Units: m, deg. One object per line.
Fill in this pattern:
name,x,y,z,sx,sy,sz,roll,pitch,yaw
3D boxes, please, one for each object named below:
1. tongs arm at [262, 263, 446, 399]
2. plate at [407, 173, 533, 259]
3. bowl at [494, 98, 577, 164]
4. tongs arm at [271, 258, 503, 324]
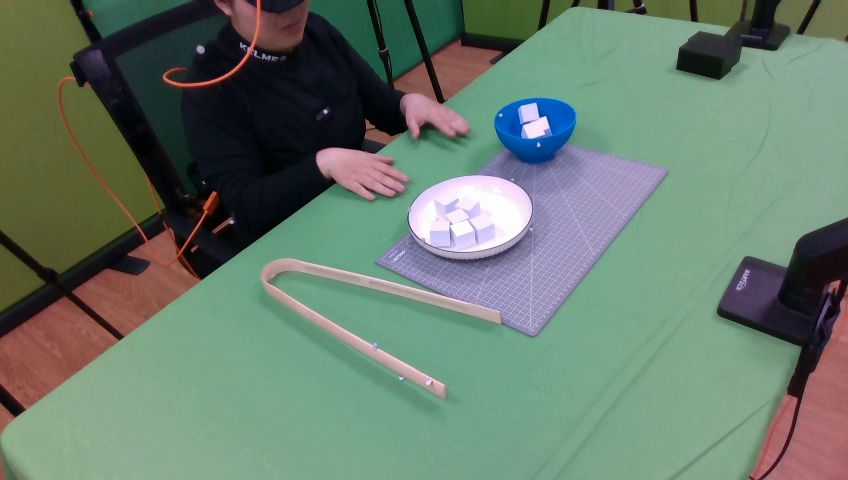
tongs arm,-0.110,0.118,0.855,0.381,0.026,0.051,21,48,33
plate,0.076,-0.037,0.997,0.207,0.039,0.206,-5,40,5
bowl,0.207,-0.196,1.128,0.151,0.077,0.150,-5,40,5
tongs arm,-0.065,0.074,0.904,0.385,0.028,0.028,11,47,23
